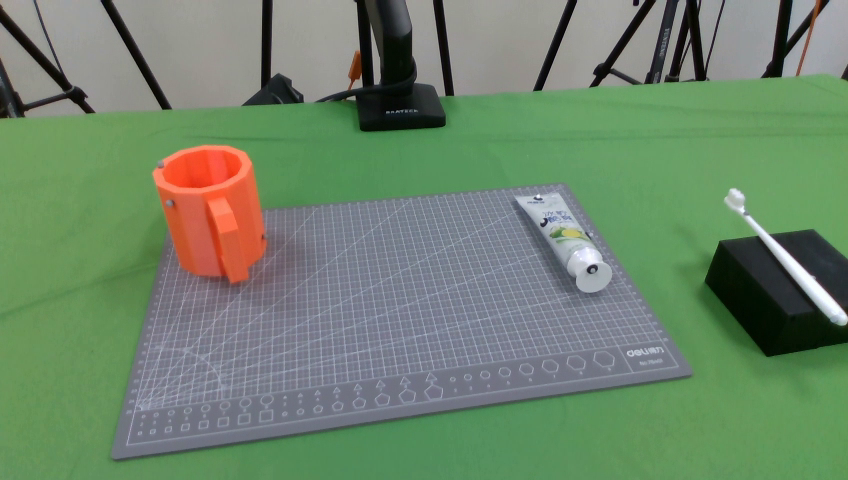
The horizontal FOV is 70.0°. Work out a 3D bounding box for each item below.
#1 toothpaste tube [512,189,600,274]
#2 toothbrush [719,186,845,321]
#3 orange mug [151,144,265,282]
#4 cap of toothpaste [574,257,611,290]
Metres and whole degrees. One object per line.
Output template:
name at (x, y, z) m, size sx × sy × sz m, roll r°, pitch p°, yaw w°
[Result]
toothpaste tube at (0.143, -0.013, 0.627) m, size 0.055 × 0.035 × 0.163 m, roll -1°, pitch 33°, yaw -13°
toothbrush at (0.315, 0.005, 0.542) m, size 0.014 × 0.017 × 0.180 m, roll 1°, pitch 38°, yaw -9°
orange mug at (-0.196, -0.022, 0.571) m, size 0.083 × 0.101 × 0.125 m, roll -18°, pitch 38°, yaw -23°
cap of toothpaste at (0.156, 0.029, 0.563) m, size 0.037 × 0.037 × 0.011 m, roll -7°, pitch 35°, yaw -10°
